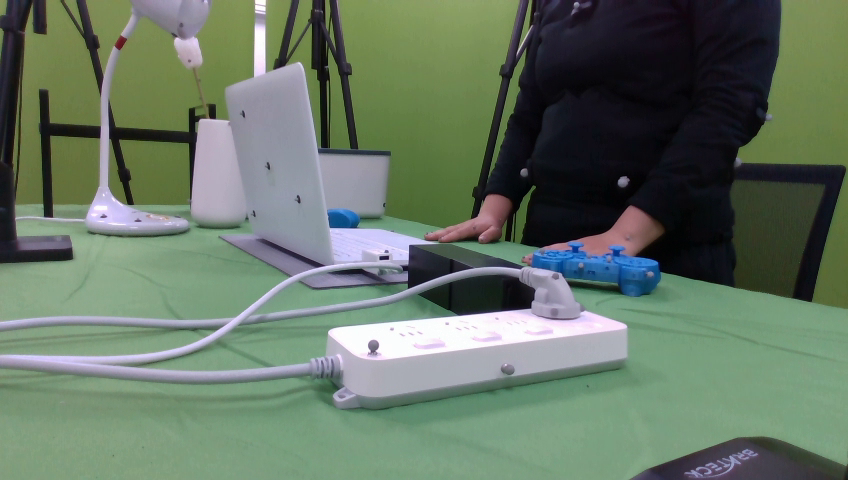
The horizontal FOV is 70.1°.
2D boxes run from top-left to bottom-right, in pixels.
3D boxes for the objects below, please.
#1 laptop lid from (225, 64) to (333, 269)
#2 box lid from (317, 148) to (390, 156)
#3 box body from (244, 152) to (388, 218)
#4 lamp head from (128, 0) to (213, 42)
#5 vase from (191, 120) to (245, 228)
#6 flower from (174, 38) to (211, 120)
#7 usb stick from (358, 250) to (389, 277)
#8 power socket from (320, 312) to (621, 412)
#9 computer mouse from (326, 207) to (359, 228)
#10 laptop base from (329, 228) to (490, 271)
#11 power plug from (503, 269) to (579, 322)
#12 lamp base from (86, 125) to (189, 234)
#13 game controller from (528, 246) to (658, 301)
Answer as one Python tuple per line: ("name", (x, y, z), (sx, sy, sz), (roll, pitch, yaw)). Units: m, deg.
("laptop lid", (-0.209, -0.101, 0.824), (0.013, 0.241, 0.355), (-14, 16, -29))
("box lid", (-0.295, -0.217, 1.464), (0.373, 0.015, 0.262), (-1, 8, -29))
("box body", (-0.297, -0.143, 1.475), (0.366, 0.160, 0.253), (-1, 9, -30))
("lamp head", (-0.423, -0.394, 0.980), (0.123, 0.112, 0.112), (20, 7, -3))
("vase", (-0.389, -0.124, 1.143), (0.098, 0.200, 0.098), (3, 9, 0))
("flower", (-0.401, -0.207, 1.141), (0.038, 0.361, 0.044), (-14, 3, 44))
("usb stick", (-0.062, 0.026, 0.708), (0.021, 0.027, 0.059), (-3, 5, -28))
("power socket", (0.038, 0.075, 0.409), (0.228, 0.032, 0.072), (-2, 8, -29))
("computer mouse", (-0.195, -0.046, 1.241), (0.117, 0.041, 0.063), (0, 10, 12))
("laptop base", (-0.096, 0.011, 0.912), (0.237, 0.023, 0.352), (2, 7, -32))
("power plug", (0.091, 0.051, 0.469), (0.035, 0.052, 0.072), (1, 5, -18))
("lamp base", (-0.497, -0.105, 1.027), (0.179, 0.180, 0.160), (1, 7, 2))
("game controller", (0.202, 0.037, 0.733), (0.155, 0.051, 0.097), (5, 10, 19))
